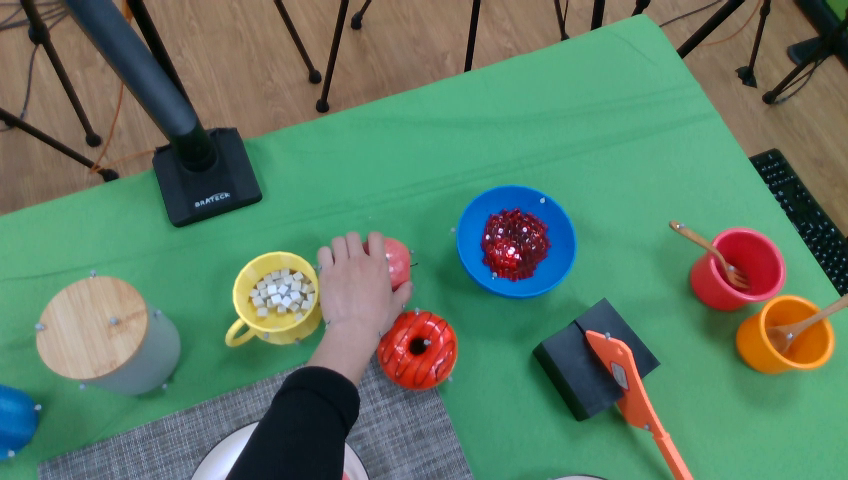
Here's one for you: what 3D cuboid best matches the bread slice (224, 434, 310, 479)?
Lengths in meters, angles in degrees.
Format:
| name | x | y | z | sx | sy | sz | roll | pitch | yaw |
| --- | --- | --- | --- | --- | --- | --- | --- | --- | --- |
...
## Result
| name | x | y | z | sx | sy | sz | roll | pitch | yaw |
| --- | --- | --- | --- | --- | --- | --- | --- | --- | --- |
| bread slice | -0.150 | 0.296 | 0.662 | 0.107 | 0.018 | 0.133 | -31 | 72 | -14 |

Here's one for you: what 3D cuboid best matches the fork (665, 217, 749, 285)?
| name | x | y | z | sx | sy | sz | roll | pitch | yaw |
| --- | --- | --- | --- | --- | --- | --- | --- | --- | --- |
| fork | 0.355 | 0.015 | 0.752 | 0.209 | 0.018 | 0.028 | 28 | 60 | -37 |

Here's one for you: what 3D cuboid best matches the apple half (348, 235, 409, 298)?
| name | x | y | z | sx | sy | sz | roll | pitch | yaw |
| --- | --- | --- | --- | --- | --- | --- | --- | --- | --- |
| apple half | -0.055 | 0.029 | 0.753 | 0.075 | 0.053 | 0.080 | 3 | 69 | -13 |

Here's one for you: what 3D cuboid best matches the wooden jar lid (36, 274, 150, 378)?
| name | x | y | z | sx | sy | sz | roll | pitch | yaw |
| --- | --- | --- | --- | --- | --- | --- | --- | --- | --- |
| wooden jar lid | -0.335 | 0.088 | 0.620 | 0.108 | 0.021 | 0.107 | 1 | 67 | -2 |

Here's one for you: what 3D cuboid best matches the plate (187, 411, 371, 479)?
| name | x | y | z | sx | sy | sz | roll | pitch | yaw |
| --- | --- | --- | --- | --- | --- | --- | --- | --- | --- |
| plate | -0.158 | 0.294 | 0.660 | 0.208 | 0.039 | 0.206 | 2 | 68 | -3 |

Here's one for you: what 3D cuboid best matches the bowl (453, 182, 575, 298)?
| name | x | y | z | sx | sy | sz | roll | pitch | yaw |
| --- | --- | --- | --- | --- | --- | --- | --- | --- | --- |
| bowl | 0.109 | 0.010 | 0.775 | 0.151 | 0.077 | 0.150 | 1 | 68 | -3 |

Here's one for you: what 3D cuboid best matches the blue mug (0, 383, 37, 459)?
| name | x | y | z | sx | sy | sz | roll | pitch | yaw |
| --- | --- | --- | --- | --- | --- | --- | --- | --- | --- |
| blue mug | -0.495 | 0.200 | 0.642 | 0.082 | 0.106 | 0.116 | 40 | 71 | 12 |

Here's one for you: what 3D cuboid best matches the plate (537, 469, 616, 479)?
| name | x | y | z | sx | sy | sz | roll | pitch | yaw |
| --- | --- | --- | --- | --- | --- | --- | --- | --- | --- |
| plate | 0.171 | 0.361 | 0.660 | 0.209 | 0.038 | 0.207 | 1 | 68 | -2 |

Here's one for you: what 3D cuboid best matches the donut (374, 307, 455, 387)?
| name | x | y | z | sx | sy | sz | roll | pitch | yaw |
| --- | --- | --- | --- | --- | --- | --- | --- | --- | --- |
| donut | -0.011 | 0.129 | 0.734 | 0.099 | 0.048 | 0.098 | 2 | 69 | -4 |

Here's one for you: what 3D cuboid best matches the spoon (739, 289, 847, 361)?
| name | x | y | z | sx | sy | sz | roll | pitch | yaw |
| --- | --- | --- | --- | --- | --- | --- | --- | --- | --- |
| spoon | 0.473 | 0.088 | 0.731 | 0.022 | 0.194 | 0.041 | -2 | 56 | -54 |

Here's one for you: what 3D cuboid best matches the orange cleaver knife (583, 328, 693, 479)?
| name | x | y | z | sx | sy | sz | roll | pitch | yaw |
| --- | --- | --- | --- | --- | --- | --- | --- | --- | --- |
| orange cleaver knife | 0.248 | 0.195 | 0.708 | 0.012 | 0.077 | 0.211 | -30 | 95 | -22 |

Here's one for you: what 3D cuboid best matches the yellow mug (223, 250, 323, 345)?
| name | x | y | z | sx | sy | sz | roll | pitch | yaw |
| --- | --- | --- | --- | --- | --- | --- | --- | --- | --- |
| yellow mug | -0.188 | 0.080 | 0.733 | 0.099 | 0.064 | 0.130 | 43 | 72 | 13 |

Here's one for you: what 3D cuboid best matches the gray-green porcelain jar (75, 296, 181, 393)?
| name | x | y | z | sx | sy | sz | roll | pitch | yaw |
| --- | --- | --- | --- | --- | --- | --- | --- | --- | --- |
| gray-green porcelain jar | -0.339 | 0.113 | 0.677 | 0.106 | 0.127 | 0.105 | 1 | 67 | -3 |

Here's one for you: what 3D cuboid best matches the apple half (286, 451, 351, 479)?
| name | x | y | z | sx | sy | sz | roll | pitch | yaw |
| --- | --- | --- | --- | --- | --- | --- | --- | --- | --- |
| apple half | -0.115 | 0.269 | 0.651 | 0.081 | 0.033 | 0.080 | 2 | 67 | -4 |
